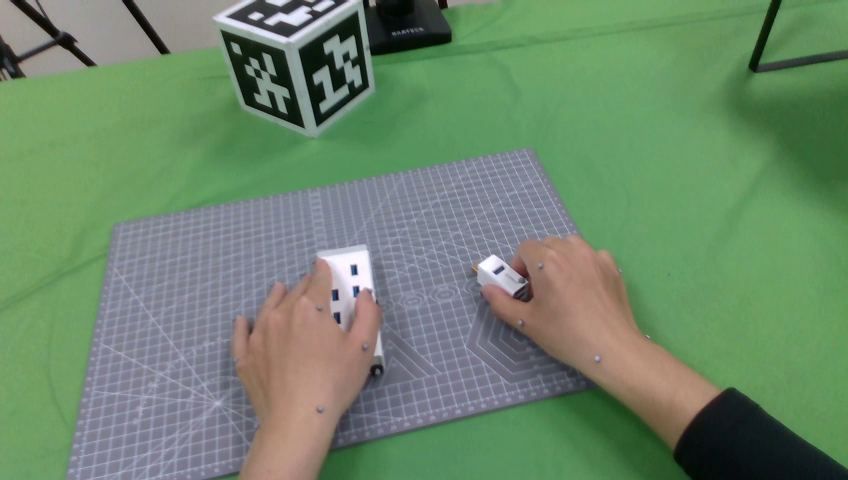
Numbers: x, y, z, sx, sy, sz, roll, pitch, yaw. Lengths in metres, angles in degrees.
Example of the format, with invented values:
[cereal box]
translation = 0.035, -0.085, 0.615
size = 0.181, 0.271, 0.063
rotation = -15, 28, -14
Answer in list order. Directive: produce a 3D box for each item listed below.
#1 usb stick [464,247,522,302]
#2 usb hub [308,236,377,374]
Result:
[usb stick]
translation = 0.058, 0.026, 0.533
size = 0.021, 0.027, 0.058
rotation = -33, 51, -25
[usb hub]
translation = -0.072, 0.052, 0.520
size = 0.049, 0.025, 0.123
rotation = -10, 48, -3
